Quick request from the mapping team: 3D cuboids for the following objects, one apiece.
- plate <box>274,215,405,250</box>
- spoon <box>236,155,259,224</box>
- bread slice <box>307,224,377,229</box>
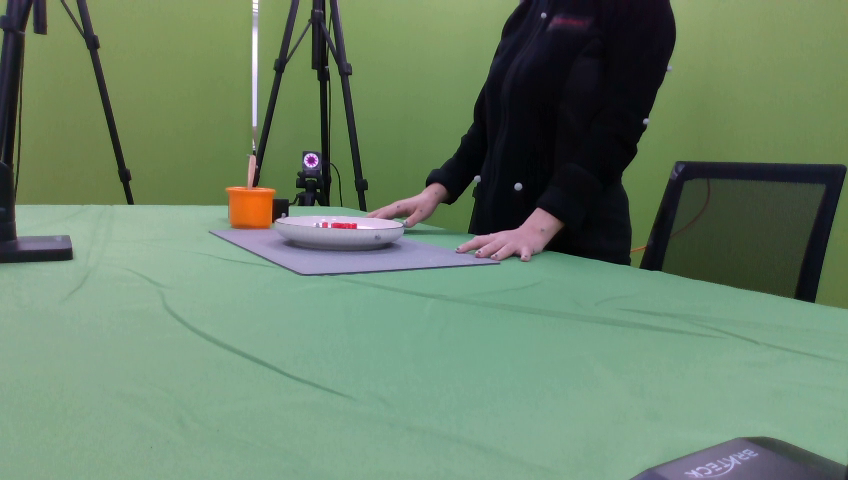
[{"bbox_3d":[-0.136,-0.013,0.981,0.209,0.038,0.209,2,7,0],"label":"plate"},{"bbox_3d":[-0.343,-0.102,1.196,0.042,0.193,0.021,-1,-36,-8],"label":"spoon"},{"bbox_3d":[-0.133,-0.011,0.974,0.135,0.018,0.106,-3,8,-33],"label":"bread slice"}]
